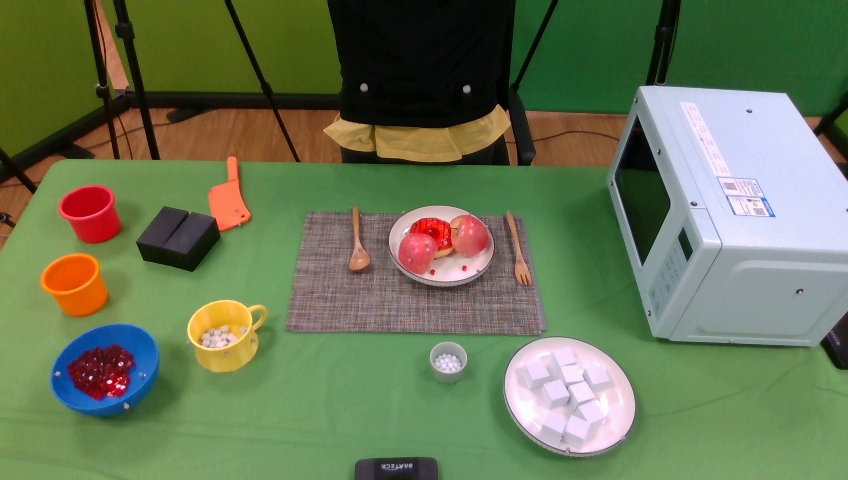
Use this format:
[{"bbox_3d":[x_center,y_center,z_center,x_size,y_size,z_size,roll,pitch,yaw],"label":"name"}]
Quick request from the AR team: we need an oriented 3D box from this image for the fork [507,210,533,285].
[{"bbox_3d":[0.185,0.012,1.197,0.028,0.019,0.206,-5,48,0],"label":"fork"}]

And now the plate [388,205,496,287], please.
[{"bbox_3d":[0.033,0.014,1.171,0.209,0.038,0.208,2,46,-2],"label":"plate"}]

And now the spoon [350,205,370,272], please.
[{"bbox_3d":[-0.130,-0.008,1.190,0.041,0.022,0.192,-22,47,11],"label":"spoon"}]

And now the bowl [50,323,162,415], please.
[{"bbox_3d":[-0.472,0.209,0.924,0.151,0.077,0.150,3,45,-2],"label":"bowl"}]

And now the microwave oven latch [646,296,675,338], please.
[{"bbox_3d":[0.412,0.134,1.061,0.030,0.029,0.078,3,45,0],"label":"microwave oven latch"}]

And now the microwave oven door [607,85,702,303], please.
[{"bbox_3d":[0.423,-0.094,1.141,0.039,0.245,0.353,2,46,-1],"label":"microwave oven door"}]

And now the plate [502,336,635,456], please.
[{"bbox_3d":[0.225,0.248,0.964,0.208,0.039,0.206,2,46,-2],"label":"plate"}]

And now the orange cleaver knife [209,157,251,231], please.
[{"bbox_3d":[-0.409,-0.099,1.266,0.077,0.012,0.210,-14,50,-10],"label":"orange cleaver knife"}]

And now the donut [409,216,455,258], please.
[{"bbox_3d":[0.020,-0.007,1.174,0.099,0.048,0.098,2,45,-1],"label":"donut"}]

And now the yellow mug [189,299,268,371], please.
[{"bbox_3d":[-0.316,0.148,1.002,0.131,0.064,0.099,-33,56,-31],"label":"yellow mug"}]

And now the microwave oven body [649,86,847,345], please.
[{"bbox_3d":[0.568,-0.053,1.118,0.326,0.261,0.439,2,45,-1],"label":"microwave oven body"}]

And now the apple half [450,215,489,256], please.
[{"bbox_3d":[0.092,-0.013,1.158,0.075,0.053,0.080,34,39,-28],"label":"apple half"}]

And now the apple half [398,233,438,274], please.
[{"bbox_3d":[-0.016,0.022,1.123,0.081,0.033,0.081,-2,83,14],"label":"apple half"}]

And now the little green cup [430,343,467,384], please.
[{"bbox_3d":[0.039,0.203,0.994,0.061,0.039,0.061,2,46,-2],"label":"little green cup"}]
